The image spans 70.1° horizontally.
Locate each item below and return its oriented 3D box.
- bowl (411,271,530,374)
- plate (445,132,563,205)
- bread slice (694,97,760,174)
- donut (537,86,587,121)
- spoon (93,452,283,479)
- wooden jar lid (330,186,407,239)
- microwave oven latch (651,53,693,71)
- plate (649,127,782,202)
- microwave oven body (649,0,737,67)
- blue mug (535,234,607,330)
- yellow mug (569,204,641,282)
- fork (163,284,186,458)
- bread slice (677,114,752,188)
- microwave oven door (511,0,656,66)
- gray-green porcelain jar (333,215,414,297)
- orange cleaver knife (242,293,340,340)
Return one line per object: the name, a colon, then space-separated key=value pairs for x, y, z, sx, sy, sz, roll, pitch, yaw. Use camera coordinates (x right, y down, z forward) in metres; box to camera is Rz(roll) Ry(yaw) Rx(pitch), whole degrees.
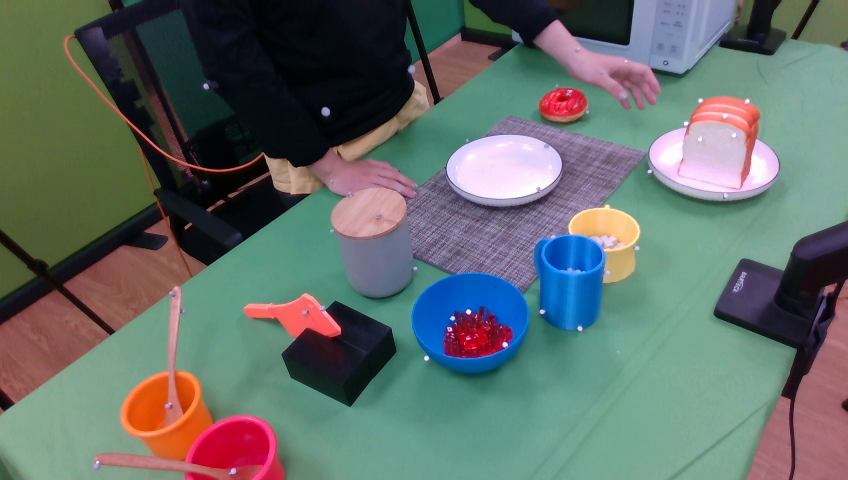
bowl: x=0.061 y=0.120 z=0.780 sx=0.151 sy=0.077 sz=0.150 roll=-4 pitch=40 yaw=4
plate: x=0.142 y=-0.123 z=1.076 sx=0.209 sy=0.038 sz=0.208 roll=-4 pitch=41 yaw=4
bread slice: x=0.497 y=-0.173 z=1.004 sx=0.106 sy=0.135 sz=0.018 roll=23 pitch=51 yaw=26
donut: x=0.283 y=-0.280 z=1.239 sx=0.099 sy=0.048 sz=0.098 roll=-5 pitch=43 yaw=5
spoon: x=-0.240 y=0.239 z=0.632 sx=0.195 sy=0.021 sz=0.041 roll=26 pitch=34 yaw=-32
wooden jar lid: x=-0.077 y=-0.035 z=0.846 sx=0.108 sy=0.021 sz=0.108 roll=-5 pitch=41 yaw=5
microwave oven latch: x=0.532 y=-0.386 z=1.301 sx=0.078 sy=0.029 sz=0.030 roll=27 pitch=52 yaw=34
plate: x=0.493 y=-0.127 z=1.036 sx=0.207 sy=0.039 sz=0.206 roll=-4 pitch=40 yaw=4
microwave oven body: x=0.475 y=-0.602 z=1.411 sx=0.438 sy=0.261 sz=0.327 roll=23 pitch=50 yaw=32
blue mug: x=0.191 y=0.048 z=0.824 sx=0.082 sy=0.106 sz=0.115 roll=-26 pitch=44 yaw=-20
yellow mug: x=0.268 y=-0.005 z=0.904 sx=0.099 sy=0.064 sz=0.130 roll=7 pitch=41 yaw=15
fork: x=-0.302 y=0.157 z=0.733 sx=0.028 sy=0.019 sz=0.207 roll=-4 pitch=84 yaw=16
bread slice: x=0.467 y=-0.144 z=0.976 sx=0.104 sy=0.132 sz=0.019 roll=18 pitch=55 yaw=30
microwave oven door: x=0.351 y=-0.540 z=1.349 sx=0.353 sy=0.245 sz=0.039 roll=24 pitch=50 yaw=31
gray-green porcelain jar: x=-0.071 y=0.012 z=0.887 sx=0.106 sy=0.127 sz=0.105 roll=-4 pitch=41 yaw=4
orange cleaver knife: x=-0.185 y=0.107 z=0.827 sx=0.210 sy=0.077 sz=0.012 roll=-9 pitch=29 yaw=48
